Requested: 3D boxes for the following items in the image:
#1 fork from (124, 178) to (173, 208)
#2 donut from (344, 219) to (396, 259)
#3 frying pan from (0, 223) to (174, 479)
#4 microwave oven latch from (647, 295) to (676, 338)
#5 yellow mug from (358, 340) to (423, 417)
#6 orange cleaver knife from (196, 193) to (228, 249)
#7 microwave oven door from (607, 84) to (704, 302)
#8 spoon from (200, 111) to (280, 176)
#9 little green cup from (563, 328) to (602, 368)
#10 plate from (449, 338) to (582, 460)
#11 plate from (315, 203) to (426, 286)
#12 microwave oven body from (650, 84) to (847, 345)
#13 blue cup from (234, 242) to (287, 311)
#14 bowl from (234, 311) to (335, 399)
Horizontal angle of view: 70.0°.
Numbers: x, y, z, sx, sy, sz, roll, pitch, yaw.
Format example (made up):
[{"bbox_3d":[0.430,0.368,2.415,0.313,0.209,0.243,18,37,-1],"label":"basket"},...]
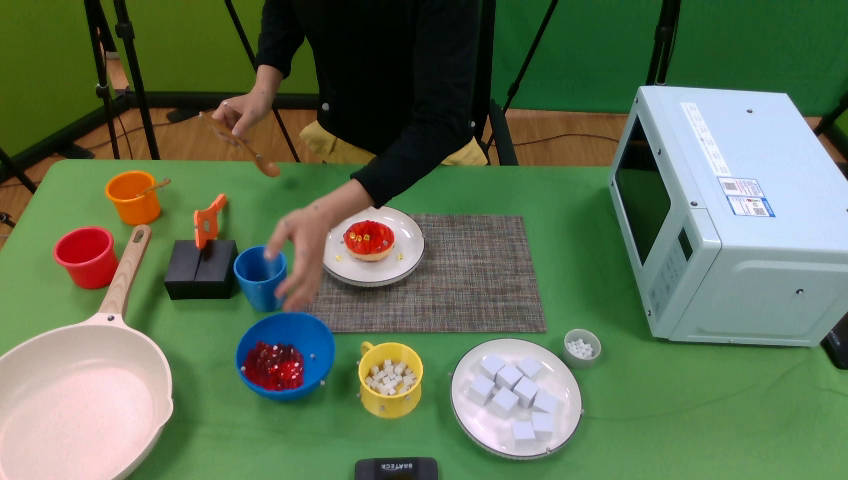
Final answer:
[{"bbox_3d":[-0.525,-0.089,1.153,0.207,0.019,0.028,-17,25,45],"label":"fork"},{"bbox_3d":[-0.102,-0.003,1.157,0.099,0.048,0.098,3,43,-3],"label":"donut"},{"bbox_3d":[-0.505,0.169,0.940,0.307,0.103,0.485,5,54,-1],"label":"frying pan"},{"bbox_3d":[0.413,0.133,1.060,0.030,0.029,0.078,4,46,1],"label":"microwave oven latch"},{"bbox_3d":[-0.062,0.209,0.961,0.100,0.064,0.130,-29,54,-27],"label":"yellow mug"},{"bbox_3d":[-0.406,-0.041,1.163,0.012,0.077,0.210,0,18,-4],"label":"orange cleaver knife"},{"bbox_3d":[0.424,-0.096,1.137,0.039,0.245,0.353,2,46,-1],"label":"microwave oven door"},{"bbox_3d":[-0.356,-0.189,1.183,0.021,0.195,0.041,-20,46,27],"label":"spoon"},{"bbox_3d":[0.266,0.185,1.025,0.061,0.039,0.061,1,44,-1],"label":"little green cup"},{"bbox_3d":[0.141,0.251,0.955,0.208,0.039,0.206,2,46,-2],"label":"plate"},{"bbox_3d":[-0.101,0.012,1.159,0.209,0.038,0.208,2,46,-2],"label":"plate"},{"bbox_3d":[0.569,-0.054,1.115,0.326,0.261,0.439,2,46,-1],"label":"microwave oven body"},{"bbox_3d":[-0.276,0.071,1.052,0.093,0.101,0.092,1,48,-1],"label":"blue cup"},{"bbox_3d":[-0.214,0.194,0.956,0.151,0.077,0.150,2,46,-2],"label":"bowl"}]
